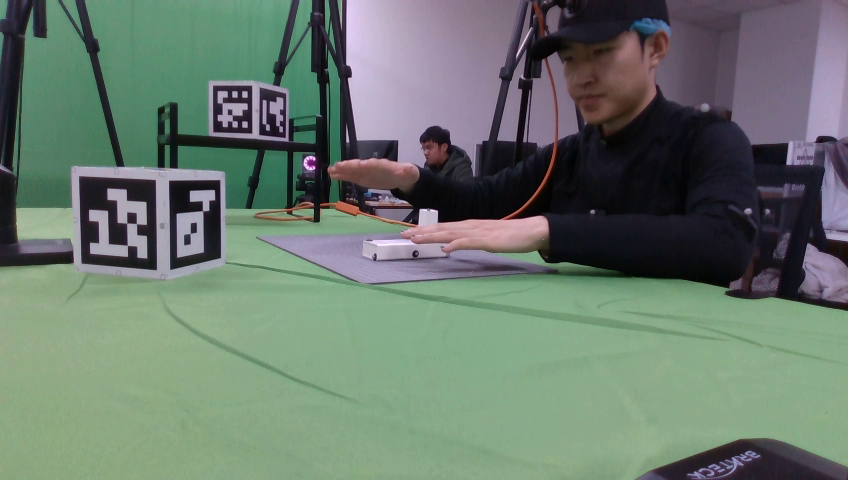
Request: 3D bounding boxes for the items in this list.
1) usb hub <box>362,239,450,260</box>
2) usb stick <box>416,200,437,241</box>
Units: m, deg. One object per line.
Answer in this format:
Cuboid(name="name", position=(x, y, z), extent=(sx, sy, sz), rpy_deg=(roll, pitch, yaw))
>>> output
Cuboid(name="usb hub", position=(-0.026, 0.013, 0.894), extent=(0.126, 0.025, 0.049), rpy_deg=(-1, 7, -31))
Cuboid(name="usb stick", position=(0.003, -0.030, 0.902), extent=(0.027, 0.059, 0.021), rpy_deg=(2, 16, 30))
